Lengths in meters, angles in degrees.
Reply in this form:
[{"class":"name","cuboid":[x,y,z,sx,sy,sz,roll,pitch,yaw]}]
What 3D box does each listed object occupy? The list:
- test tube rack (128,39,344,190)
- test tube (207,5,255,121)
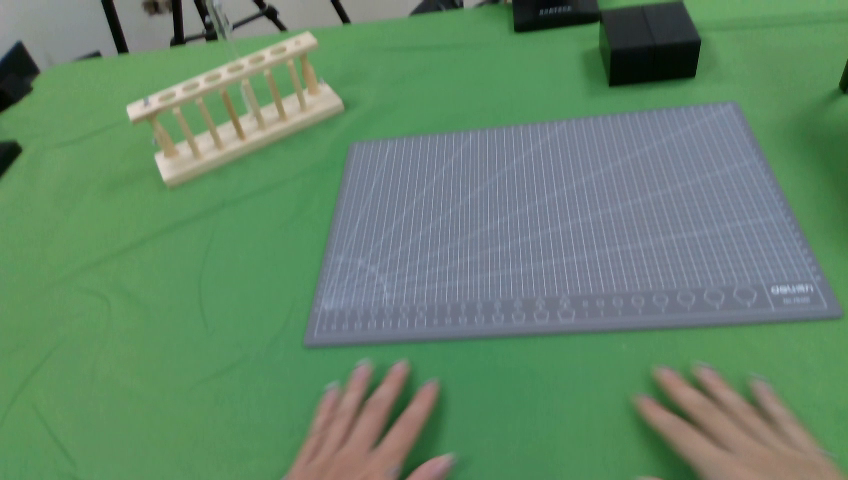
[{"class":"test tube rack","cuboid":[-0.232,-0.162,0.770,0.242,0.086,0.066,-27,47,-14]},{"class":"test tube","cuboid":[-0.234,-0.215,0.751,0.017,0.152,0.017,-6,41,5]}]
